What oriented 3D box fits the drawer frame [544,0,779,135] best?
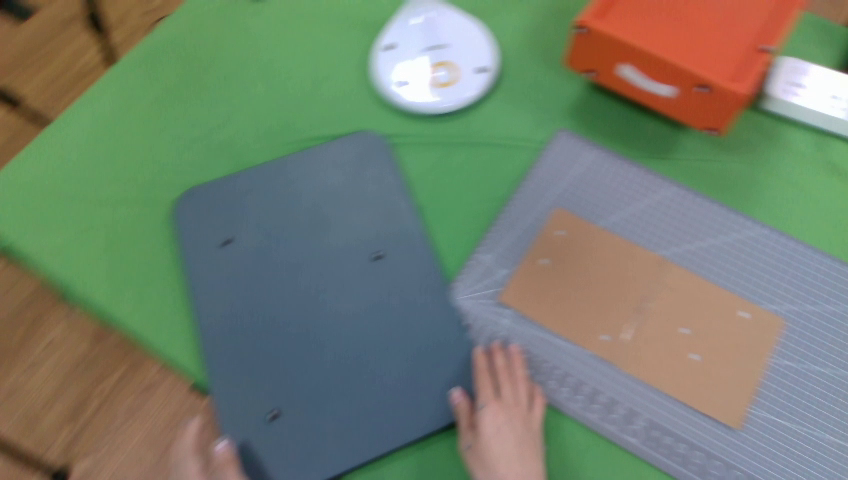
[{"bbox_3d":[0.280,-0.256,0.703,0.200,0.083,0.213,29,68,15],"label":"drawer frame"}]

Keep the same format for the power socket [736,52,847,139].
[{"bbox_3d":[0.497,-0.165,0.729,0.226,0.033,0.072,23,68,11],"label":"power socket"}]

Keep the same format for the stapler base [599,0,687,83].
[{"bbox_3d":[0.259,-0.243,0.717,0.041,0.024,0.129,-32,64,5],"label":"stapler base"}]

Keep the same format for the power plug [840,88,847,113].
[{"bbox_3d":[0.492,-0.147,0.696,0.035,0.053,0.072,33,70,15],"label":"power plug"}]

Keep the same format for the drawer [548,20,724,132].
[{"bbox_3d":[0.280,-0.253,0.702,0.193,0.074,0.211,29,68,15],"label":"drawer"}]

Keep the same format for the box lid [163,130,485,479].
[{"bbox_3d":[-0.119,0.059,0.653,0.263,0.015,0.368,-22,66,-7],"label":"box lid"}]

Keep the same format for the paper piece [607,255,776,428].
[{"bbox_3d":[0.277,0.099,0.622,0.135,0.004,0.135,29,69,14],"label":"paper piece"}]

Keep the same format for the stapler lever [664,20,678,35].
[{"bbox_3d":[0.249,-0.252,0.694,0.027,0.040,0.117,-32,63,5],"label":"stapler lever"}]

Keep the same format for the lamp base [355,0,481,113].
[{"bbox_3d":[-0.016,-0.273,0.712,0.161,0.182,0.177,-23,63,-9],"label":"lamp base"}]

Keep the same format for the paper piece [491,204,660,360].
[{"bbox_3d":[0.163,0.040,0.654,0.135,0.009,0.138,27,70,17],"label":"paper piece"}]
